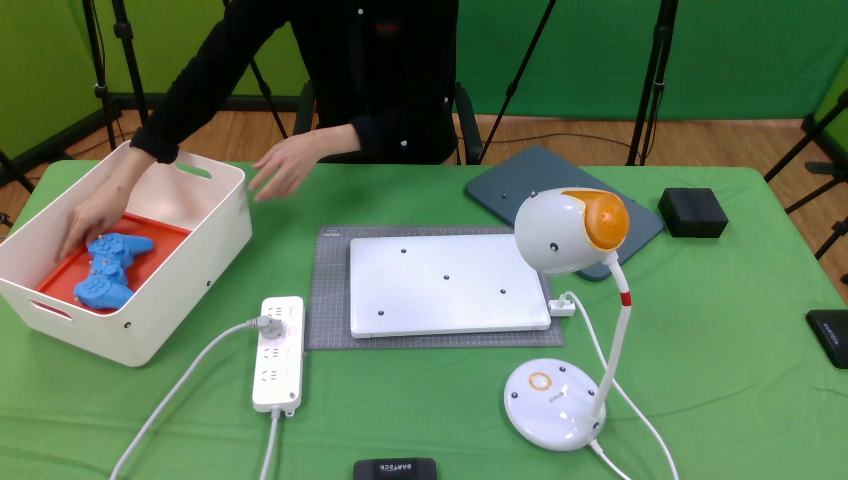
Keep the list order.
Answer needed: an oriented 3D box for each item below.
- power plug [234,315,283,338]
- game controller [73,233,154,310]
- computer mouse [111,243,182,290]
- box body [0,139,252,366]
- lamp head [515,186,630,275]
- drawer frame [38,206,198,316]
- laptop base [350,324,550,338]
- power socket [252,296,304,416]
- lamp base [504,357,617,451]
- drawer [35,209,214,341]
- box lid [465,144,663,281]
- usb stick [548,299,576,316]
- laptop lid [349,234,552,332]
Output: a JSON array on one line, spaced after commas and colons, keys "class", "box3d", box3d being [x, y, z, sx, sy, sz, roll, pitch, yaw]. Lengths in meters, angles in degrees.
[{"class": "power plug", "box3d": [-0.270, 0.143, 1.000, 0.072, 0.053, 0.035, 4, 47, 2]}, {"class": "game controller", "box3d": [-0.507, 0.047, 0.991, 0.097, 0.052, 0.154, -6, 46, -5]}, {"class": "computer mouse", "box3d": [-0.493, 0.044, 1.077, 0.117, 0.041, 0.062, 24, 42, 13]}, {"class": "box body", "box3d": [-0.496, 0.013, 1.048, 0.254, 0.161, 0.362, 17, 47, 12]}, {"class": "lamp head", "box3d": [0.188, -0.013, 0.728, 0.112, 0.112, 0.122, -25, 9, -25]}, {"class": "drawer frame", "box3d": [-0.502, 0.057, 1.051, 0.201, 0.083, 0.212, 14, 51, 12]}, {"class": "laptop base", "box3d": [0.039, 0.081, 1.124, 0.355, 0.023, 0.234, -2, 43, -6]}, {"class": "power socket", "box3d": [-0.238, 0.182, 0.997, 0.072, 0.033, 0.225, -3, 47, -5]}, {"class": "lamp base", "box3d": [0.220, 0.211, 0.902, 0.160, 0.181, 0.178, -32, 59, -30]}, {"class": "drawer", "box3d": [-0.508, 0.056, 1.048, 0.194, 0.073, 0.211, 15, 45, 10]}, {"class": "box lid", "box3d": [0.297, -0.072, 1.298, 0.263, 0.015, 0.369, -33, 56, -31]}, {"class": "usb stick", "box3d": [0.239, 0.121, 1.083, 0.059, 0.027, 0.021, -1, 50, -2]}, {"class": "laptop lid", "box3d": [0.039, 0.072, 1.117, 0.357, 0.013, 0.240, 0, 44, -5]}]
